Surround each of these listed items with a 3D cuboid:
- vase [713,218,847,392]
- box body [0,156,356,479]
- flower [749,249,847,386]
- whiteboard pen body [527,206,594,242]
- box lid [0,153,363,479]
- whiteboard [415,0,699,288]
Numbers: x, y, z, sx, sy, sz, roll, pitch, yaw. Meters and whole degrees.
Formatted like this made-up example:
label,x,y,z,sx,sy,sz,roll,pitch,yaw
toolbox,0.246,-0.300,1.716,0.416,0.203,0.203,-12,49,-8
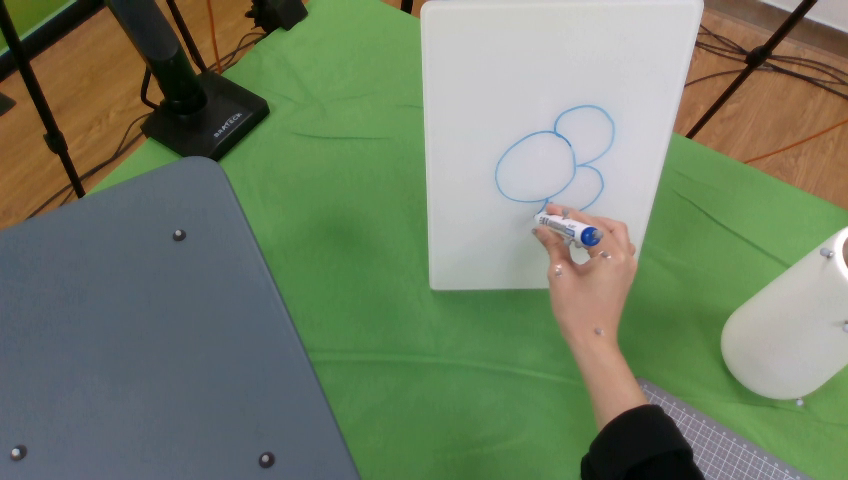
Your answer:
label,x,y,z,sx,sy,sz,roll,pitch,yaw
vase,0.331,0.060,0.526,0.098,0.201,0.097,-1,58,1
box body,-0.222,0.143,0.507,0.254,0.162,0.360,-25,63,-13
flower,0.331,0.005,0.461,0.044,0.364,0.038,24,45,18
whiteboard pen body,0.111,-0.017,0.518,0.017,0.140,0.017,-1,99,-8
box lid,-0.225,0.103,0.443,0.263,0.015,0.368,-25,63,-14
whiteboard,0.106,-0.112,0.603,0.217,0.308,0.142,-1,41,1
